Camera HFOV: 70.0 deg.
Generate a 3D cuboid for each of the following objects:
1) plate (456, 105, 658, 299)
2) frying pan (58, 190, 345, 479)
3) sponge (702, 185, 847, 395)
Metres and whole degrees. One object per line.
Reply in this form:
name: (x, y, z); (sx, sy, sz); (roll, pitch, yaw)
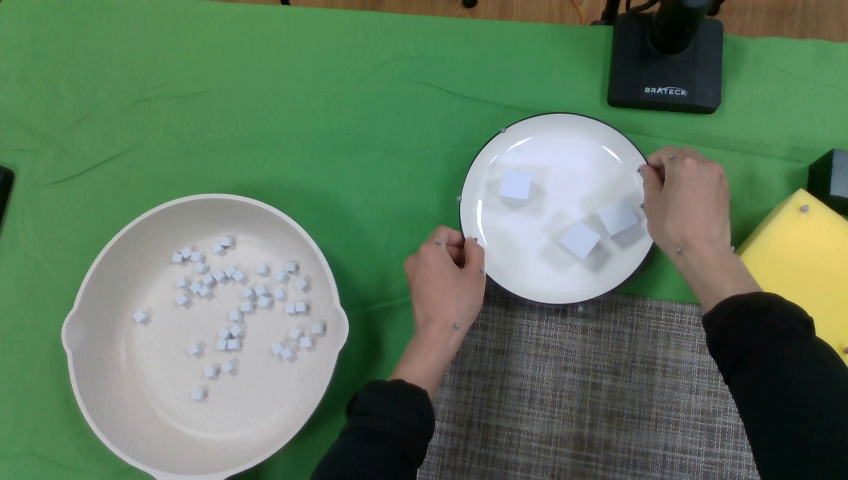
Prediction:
plate: (0.139, -0.039, 0.650); (0.207, 0.039, 0.207); (-1, 82, 7)
frying pan: (-0.232, 0.192, 0.613); (0.306, 0.103, 0.484); (0, 70, 7)
sponge: (0.403, 0.059, 0.593); (0.206, 0.061, 0.118); (41, 84, 14)
